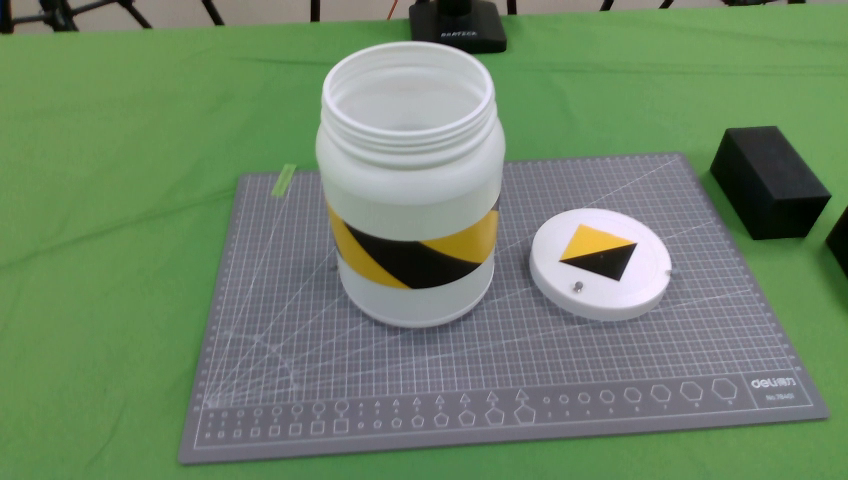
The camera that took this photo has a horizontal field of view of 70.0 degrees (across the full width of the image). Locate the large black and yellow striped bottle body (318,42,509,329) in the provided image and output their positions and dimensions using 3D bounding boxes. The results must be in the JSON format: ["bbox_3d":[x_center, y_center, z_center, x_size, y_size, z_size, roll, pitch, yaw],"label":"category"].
[{"bbox_3d":[-0.006,-0.036,0.448,0.131,0.185,0.129,0,47,1],"label":"large black and yellow striped bottle body"}]

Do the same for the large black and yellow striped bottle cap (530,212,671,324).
[{"bbox_3d":[0.148,0.020,0.511,0.115,0.019,0.114,0,45,0],"label":"large black and yellow striped bottle cap"}]
